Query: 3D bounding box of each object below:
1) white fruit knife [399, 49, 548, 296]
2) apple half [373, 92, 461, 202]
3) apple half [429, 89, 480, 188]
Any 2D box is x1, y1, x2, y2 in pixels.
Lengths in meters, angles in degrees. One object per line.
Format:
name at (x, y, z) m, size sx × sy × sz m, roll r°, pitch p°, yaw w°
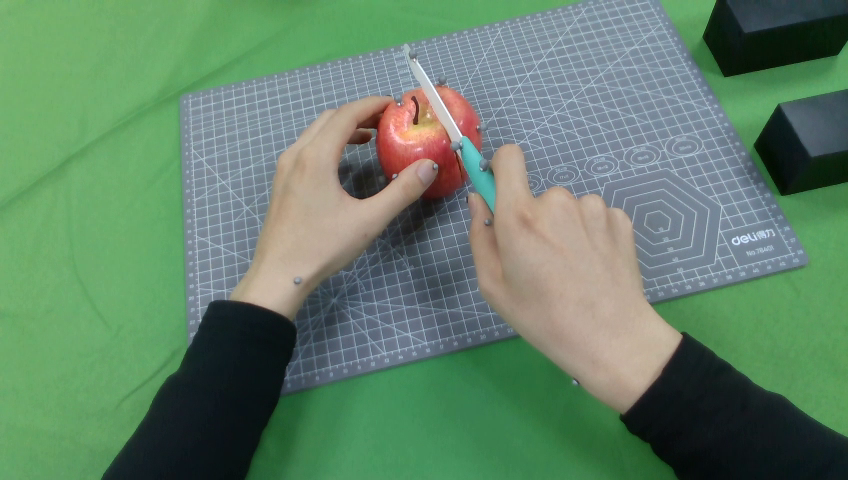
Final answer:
white fruit knife at (0.027, -0.055, 0.410) m, size 0.016 × 0.027 × 0.205 m, roll -23°, pitch 68°, yaw -16°
apple half at (-0.010, -0.065, 0.464) m, size 0.053 × 0.075 × 0.080 m, roll -24°, pitch 66°, yaw -2°
apple half at (0.026, -0.081, 0.467) m, size 0.033 × 0.082 × 0.080 m, roll -24°, pitch 62°, yaw -4°
